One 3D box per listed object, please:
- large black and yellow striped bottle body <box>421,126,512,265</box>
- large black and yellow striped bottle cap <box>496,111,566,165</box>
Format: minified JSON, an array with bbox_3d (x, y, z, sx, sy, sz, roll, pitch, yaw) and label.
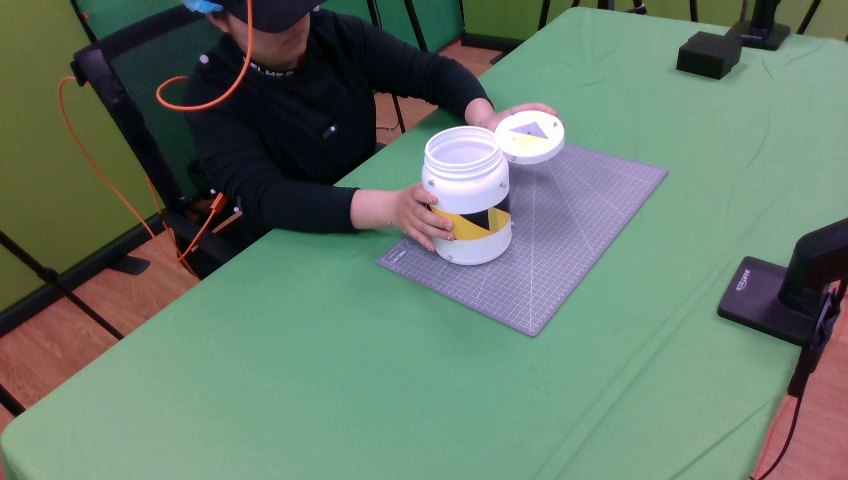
[{"bbox_3d":[0.066,-0.068,0.920,0.131,0.185,0.130,-5,40,5],"label":"large black and yellow striped bottle body"},{"bbox_3d":[0.176,-0.171,1.001,0.115,0.019,0.114,-6,50,8],"label":"large black and yellow striped bottle cap"}]
